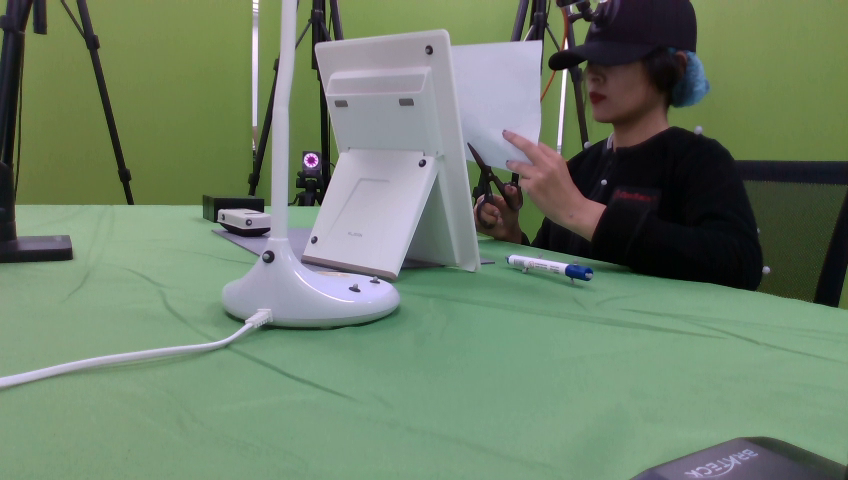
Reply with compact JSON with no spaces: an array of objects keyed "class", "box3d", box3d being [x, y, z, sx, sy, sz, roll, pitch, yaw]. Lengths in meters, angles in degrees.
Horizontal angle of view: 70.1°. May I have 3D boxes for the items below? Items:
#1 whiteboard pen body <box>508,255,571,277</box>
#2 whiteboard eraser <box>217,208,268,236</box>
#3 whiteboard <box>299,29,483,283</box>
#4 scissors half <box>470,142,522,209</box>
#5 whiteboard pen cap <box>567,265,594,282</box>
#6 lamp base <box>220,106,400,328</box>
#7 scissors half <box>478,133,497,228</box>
[{"class":"whiteboard pen body","box3d":[0.155,0.034,0.772,0.017,0.017,0.140,-2,7,-31]},{"class":"whiteboard eraser","box3d":[-0.309,-0.031,1.044,0.056,0.042,0.112,-2,9,-40]},{"class":"whiteboard","box3d":[-0.074,-0.082,0.742,0.216,0.305,0.144,9,29,38]},{"class":"scissors half","box3d":[0.127,-0.115,1.063,0.176,0.040,0.012,42,-7,-38]},{"class":"whiteboard pen cap","box3d":[0.185,0.040,0.722,0.018,0.018,0.033,-3,7,-33]},{"class":"lamp base","box3d":[-0.101,-0.023,0.531,0.160,0.180,0.179,4,10,10]},{"class":"scissors half","box3d":[0.109,-0.101,1.055,0.040,0.175,0.013,-20,28,-32]}]
